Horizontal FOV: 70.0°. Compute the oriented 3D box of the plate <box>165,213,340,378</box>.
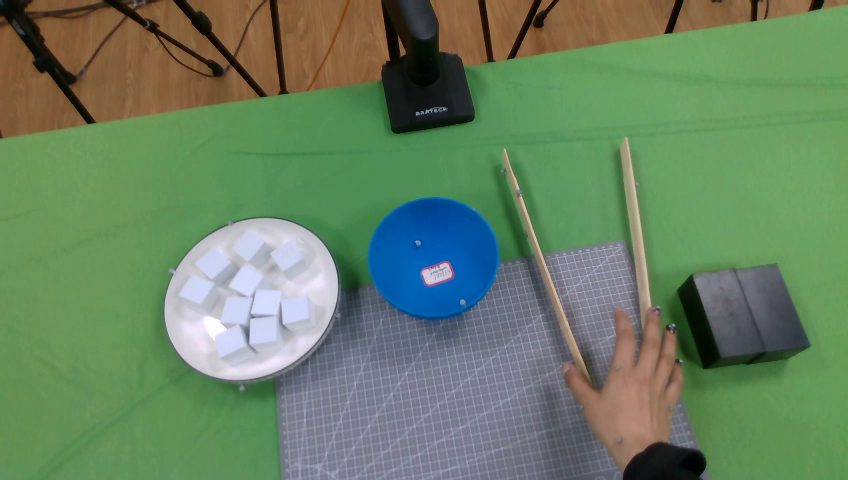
[{"bbox_3d":[-0.202,0.066,0.731,0.207,0.039,0.206,-1,64,3],"label":"plate"}]

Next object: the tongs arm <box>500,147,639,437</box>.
[{"bbox_3d":[0.166,0.046,0.730,0.051,0.027,0.381,-10,65,-7],"label":"tongs arm"}]

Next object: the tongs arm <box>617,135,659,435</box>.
[{"bbox_3d":[0.252,0.036,0.734,0.028,0.028,0.384,5,65,-3],"label":"tongs arm"}]

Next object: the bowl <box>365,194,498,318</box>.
[{"bbox_3d":[0.010,0.030,0.717,0.151,0.077,0.150,-1,64,2],"label":"bowl"}]
